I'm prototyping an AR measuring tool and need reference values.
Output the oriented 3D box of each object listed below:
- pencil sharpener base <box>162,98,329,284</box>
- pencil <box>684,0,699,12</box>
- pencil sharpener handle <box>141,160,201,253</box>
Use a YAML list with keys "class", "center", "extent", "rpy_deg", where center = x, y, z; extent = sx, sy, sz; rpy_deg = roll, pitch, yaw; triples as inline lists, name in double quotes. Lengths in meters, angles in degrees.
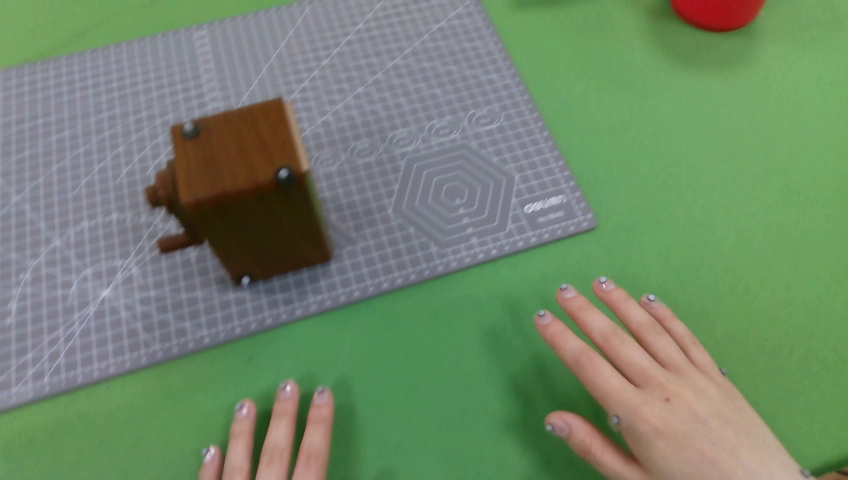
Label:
- class: "pencil sharpener base"
  center: [-0.109, -0.026, 0.383]
  extent: [0.077, 0.108, 0.061]
  rpy_deg: [-17, 62, -8]
- class: "pencil"
  center: [0.285, -0.271, 0.498]
  extent: [0.012, 0.012, 0.194]
  rpy_deg: [47, 112, 22]
- class: "pencil sharpener handle"
  center: [-0.157, -0.016, 0.364]
  extent: [0.031, 0.068, 0.035]
  rpy_deg: [-17, 56, -8]
